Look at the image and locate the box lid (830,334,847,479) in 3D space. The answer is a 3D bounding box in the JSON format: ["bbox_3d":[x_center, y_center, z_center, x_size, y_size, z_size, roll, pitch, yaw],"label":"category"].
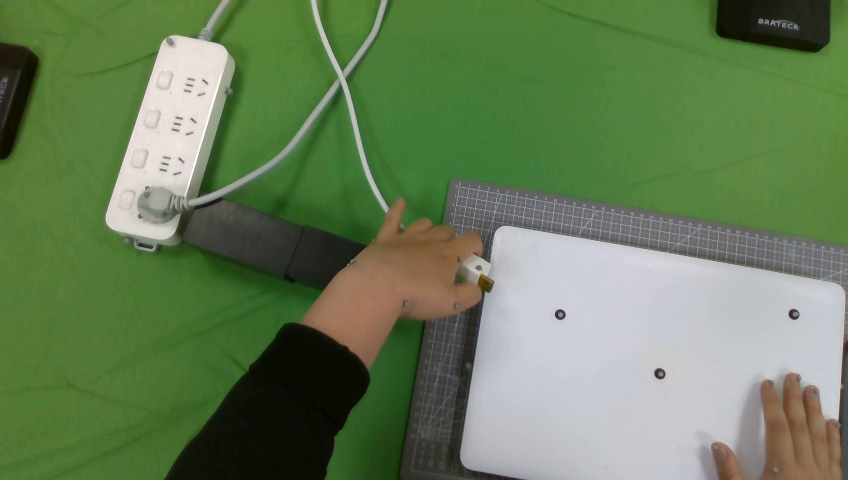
[{"bbox_3d":[0.512,0.282,0.575,0.263,0.015,0.370,10,80,-1],"label":"box lid"}]

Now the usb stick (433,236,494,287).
[{"bbox_3d":[0.039,0.021,0.548,0.059,0.021,0.027,31,35,20],"label":"usb stick"}]

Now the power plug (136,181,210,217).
[{"bbox_3d":[-0.237,-0.031,0.574,0.072,0.053,0.035,26,78,1],"label":"power plug"}]

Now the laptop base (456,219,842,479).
[{"bbox_3d":[0.221,0.121,0.590,0.354,0.023,0.235,10,83,-1],"label":"laptop base"}]

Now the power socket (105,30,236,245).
[{"bbox_3d":[-0.251,-0.107,0.607,0.072,0.032,0.226,13,79,0],"label":"power socket"}]

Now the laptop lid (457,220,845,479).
[{"bbox_3d":[0.221,0.122,0.579,0.357,0.013,0.241,12,82,0],"label":"laptop lid"}]
